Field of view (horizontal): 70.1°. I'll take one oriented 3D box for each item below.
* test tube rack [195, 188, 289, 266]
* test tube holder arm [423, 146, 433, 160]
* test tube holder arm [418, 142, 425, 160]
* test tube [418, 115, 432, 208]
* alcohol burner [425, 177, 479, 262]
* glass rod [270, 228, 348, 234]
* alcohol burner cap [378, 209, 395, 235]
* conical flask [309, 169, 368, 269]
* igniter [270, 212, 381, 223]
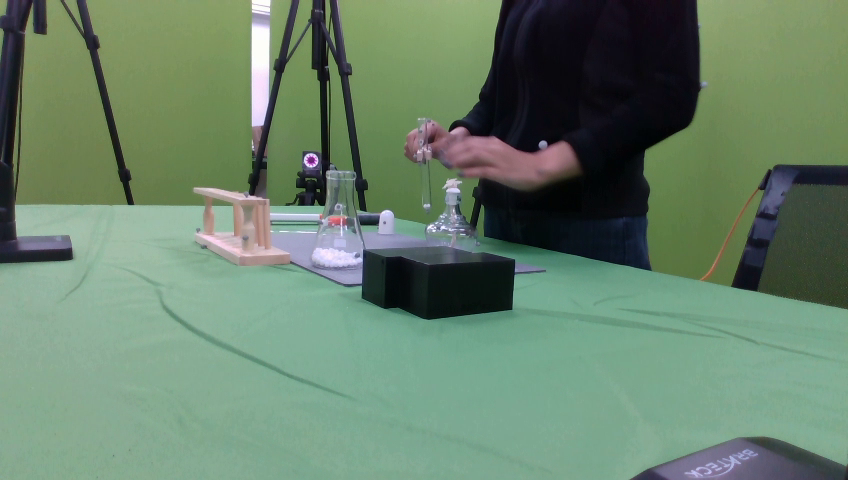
[{"bbox_3d":[-0.266,-0.025,0.864,0.067,0.085,0.241,-2,8,-33],"label":"test tube rack"},{"bbox_3d":[0.004,-0.145,1.002,0.010,0.015,0.087,1,14,-7],"label":"test tube holder arm"},{"bbox_3d":[-0.004,-0.156,1.045,0.013,0.015,0.178,3,14,-2],"label":"test tube holder arm"},{"bbox_3d":[0.002,-0.126,0.982,0.017,0.150,0.017,-3,13,1],"label":"test tube"},{"bbox_3d":[0.040,-0.029,0.853,0.078,0.119,0.078,2,9,0],"label":"alcohol burner"},{"bbox_3d":[-0.234,-0.017,1.105,0.201,0.008,0.008,2,6,-26],"label":"glass rod"},{"bbox_3d":[-0.070,-0.035,1.144,0.034,0.048,0.034,2,8,0],"label":"alcohol burner cap"},{"bbox_3d":[-0.107,-0.028,0.762,0.075,0.122,0.075,2,7,0],"label":"conical flask"},{"bbox_3d":[-0.213,-0.048,1.279,0.278,0.025,0.057,-1,-2,-24],"label":"igniter"}]
